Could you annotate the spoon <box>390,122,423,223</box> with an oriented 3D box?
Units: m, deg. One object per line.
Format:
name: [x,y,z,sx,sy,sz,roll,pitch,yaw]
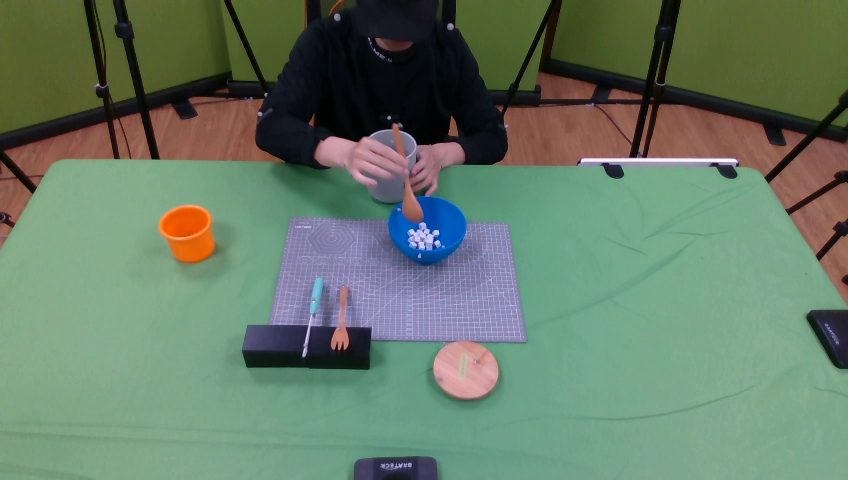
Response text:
spoon: [-0.036,-0.118,1.091,0.041,0.194,0.021,-2,23,25]

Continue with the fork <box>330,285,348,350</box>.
fork: [-0.140,0.127,1.021,0.028,0.019,0.206,-6,28,-2]

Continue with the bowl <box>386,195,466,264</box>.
bowl: [0.003,-0.007,1.162,0.151,0.077,0.150,2,46,-2]

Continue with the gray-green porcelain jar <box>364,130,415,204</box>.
gray-green porcelain jar: [-0.073,-0.148,1.263,0.106,0.127,0.105,3,46,-3]

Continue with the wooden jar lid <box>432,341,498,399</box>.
wooden jar lid: [0.067,0.216,0.997,0.108,0.021,0.107,1,46,-1]

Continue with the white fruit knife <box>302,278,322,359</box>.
white fruit knife: [-0.189,0.126,1.020,0.016,0.027,0.206,-1,33,-2]
